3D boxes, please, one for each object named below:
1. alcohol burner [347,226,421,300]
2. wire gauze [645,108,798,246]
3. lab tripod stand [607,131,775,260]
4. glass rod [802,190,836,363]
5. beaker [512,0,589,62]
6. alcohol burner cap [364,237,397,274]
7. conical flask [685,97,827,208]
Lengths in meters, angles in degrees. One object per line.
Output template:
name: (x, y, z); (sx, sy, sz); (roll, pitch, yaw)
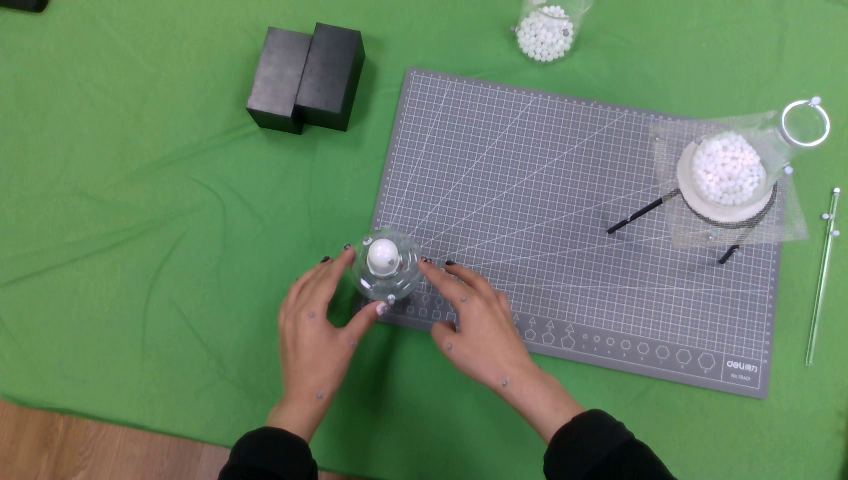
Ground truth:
alcohol burner: (-0.042, 0.021, 0.612); (0.078, 0.119, 0.077); (0, 80, 0)
wire gauze: (0.271, -0.057, 0.550); (0.125, 0.011, 0.121); (-5, 81, -2)
lab tripod stand: (0.273, -0.041, 0.614); (0.148, 0.132, 0.148); (0, 80, 1)
glass rod: (0.433, 0.037, 0.664); (0.008, 0.008, 0.199); (16, 79, 3)
beaker: (0.141, -0.254, 0.678); (0.084, 0.100, 0.073); (-29, 80, -6)
alcohol burner cap: (-0.041, 0.012, 0.577); (0.034, 0.048, 0.033); (1, 77, -5)
conical flask: (0.271, -0.074, 0.493); (0.075, 0.122, 0.075); (0, 80, 1)
